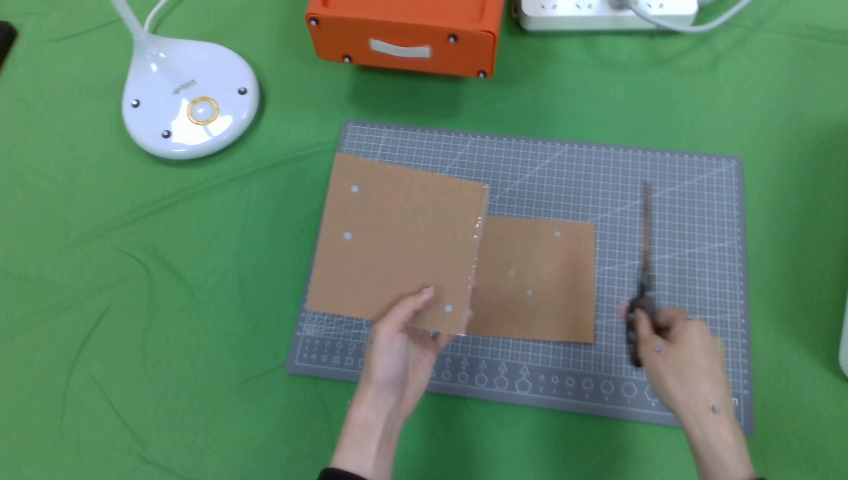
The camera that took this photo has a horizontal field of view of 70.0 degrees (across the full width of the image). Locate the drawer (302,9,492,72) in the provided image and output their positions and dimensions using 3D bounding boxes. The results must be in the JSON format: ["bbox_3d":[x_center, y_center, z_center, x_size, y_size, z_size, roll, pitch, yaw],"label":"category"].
[{"bbox_3d":[-0.013,-0.300,0.679,0.194,0.074,0.210,7,68,6],"label":"drawer"}]

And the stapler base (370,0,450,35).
[{"bbox_3d":[-0.031,-0.282,0.692,0.129,0.024,0.041,37,90,18],"label":"stapler base"}]

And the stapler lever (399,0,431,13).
[{"bbox_3d":[-0.039,-0.287,0.668,0.117,0.040,0.027,37,90,19],"label":"stapler lever"}]

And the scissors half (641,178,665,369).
[{"bbox_3d":[0.205,0.027,0.547,0.012,0.040,0.174,-7,76,43],"label":"scissors half"}]

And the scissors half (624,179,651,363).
[{"bbox_3d":[0.192,0.021,0.532,0.013,0.040,0.174,-4,60,37],"label":"scissors half"}]

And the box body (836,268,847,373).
[{"bbox_3d":[0.553,-0.013,0.541,0.253,0.161,0.362,19,70,10],"label":"box body"}]

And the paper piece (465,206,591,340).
[{"bbox_3d":[0.103,0.030,0.626,0.135,0.004,0.135,7,68,7],"label":"paper piece"}]

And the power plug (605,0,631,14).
[{"bbox_3d":[0.222,-0.280,0.709,0.035,0.053,0.072,11,69,7],"label":"power plug"}]

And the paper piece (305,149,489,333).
[{"bbox_3d":[-0.020,0.001,0.511,0.136,0.008,0.138,11,82,-7],"label":"paper piece"}]

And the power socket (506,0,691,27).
[{"bbox_3d":[0.215,-0.298,0.741,0.227,0.033,0.071,1,69,3],"label":"power socket"}]

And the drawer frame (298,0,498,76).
[{"bbox_3d":[-0.015,-0.302,0.680,0.201,0.083,0.212,7,68,6],"label":"drawer frame"}]

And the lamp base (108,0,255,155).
[{"bbox_3d":[-0.294,-0.208,0.650,0.178,0.181,0.160,38,74,19],"label":"lamp base"}]
